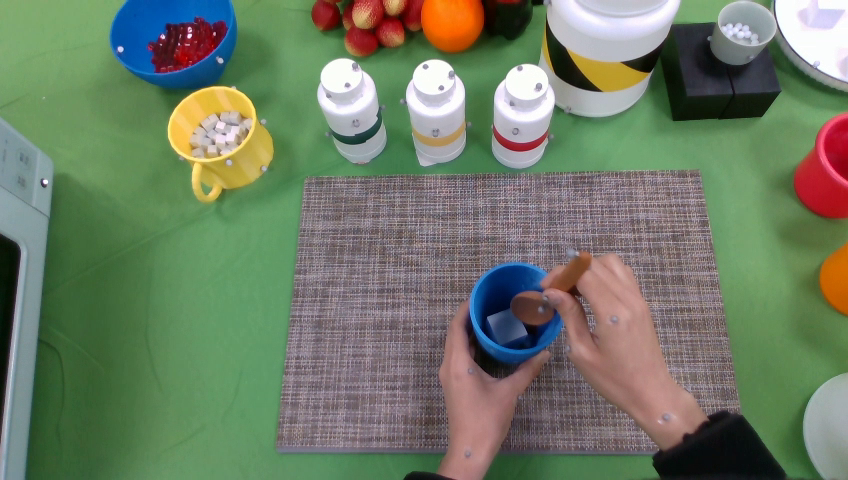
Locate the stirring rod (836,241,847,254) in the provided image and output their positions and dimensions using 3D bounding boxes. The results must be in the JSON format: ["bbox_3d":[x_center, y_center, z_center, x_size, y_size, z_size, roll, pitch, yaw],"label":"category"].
[{"bbox_3d":[0.437,0.039,0.550,0.014,0.006,0.174,-7,25,0],"label":"stirring rod"}]

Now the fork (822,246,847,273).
[{"bbox_3d":[0.465,0.040,0.543,0.028,0.019,0.205,-35,26,-15],"label":"fork"}]

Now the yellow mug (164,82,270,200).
[{"bbox_3d":[-0.240,-0.108,0.694,0.100,0.064,0.130,9,69,6],"label":"yellow mug"}]

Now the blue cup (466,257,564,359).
[{"bbox_3d":[0.083,0.073,0.578,0.092,0.101,0.092,-1,68,3],"label":"blue cup"}]

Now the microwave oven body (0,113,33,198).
[{"bbox_3d":[-0.576,0.075,0.535,0.326,0.262,0.438,-10,68,0],"label":"microwave oven body"}]

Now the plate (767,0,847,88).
[{"bbox_3d":[0.512,-0.262,0.720,0.209,0.038,0.207,-1,69,3],"label":"plate"}]

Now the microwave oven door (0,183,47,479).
[{"bbox_3d":[-0.426,0.088,0.515,0.039,0.245,0.353,-10,68,1],"label":"microwave oven door"}]

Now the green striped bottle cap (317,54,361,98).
[{"bbox_3d":[-0.088,-0.168,0.623,0.044,0.020,0.044,-1,67,3],"label":"green striped bottle cap"}]

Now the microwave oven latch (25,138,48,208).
[{"bbox_3d":[-0.450,-0.075,0.690,0.030,0.030,0.078,-8,69,0],"label":"microwave oven latch"}]

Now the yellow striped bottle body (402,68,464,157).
[{"bbox_3d":[0.011,-0.147,0.663,0.063,0.121,0.062,-2,68,5],"label":"yellow striped bottle body"}]

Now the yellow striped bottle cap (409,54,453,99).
[{"bbox_3d":[0.007,-0.167,0.616,0.044,0.019,0.044,-1,69,3],"label":"yellow striped bottle cap"}]

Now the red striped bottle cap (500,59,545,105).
[{"bbox_3d":[0.099,-0.159,0.606,0.044,0.018,0.044,0,67,0],"label":"red striped bottle cap"}]

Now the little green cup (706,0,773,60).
[{"bbox_3d":[0.343,-0.230,0.664,0.061,0.039,0.061,-1,67,2],"label":"little green cup"}]

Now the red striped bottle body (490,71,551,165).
[{"bbox_3d":[0.104,-0.138,0.654,0.063,0.120,0.062,-3,66,7],"label":"red striped bottle body"}]

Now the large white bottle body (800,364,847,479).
[{"bbox_3d":[0.410,0.147,0.484,0.130,0.186,0.129,-1,67,4],"label":"large white bottle body"}]

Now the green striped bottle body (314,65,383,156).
[{"bbox_3d":[-0.083,-0.149,0.671,0.063,0.120,0.062,-1,68,3],"label":"green striped bottle body"}]

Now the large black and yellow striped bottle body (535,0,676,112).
[{"bbox_3d":[0.193,-0.241,0.655,0.131,0.185,0.130,-1,68,4],"label":"large black and yellow striped bottle body"}]

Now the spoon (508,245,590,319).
[{"bbox_3d":[0.101,0.039,0.490,0.041,0.194,0.021,25,75,5],"label":"spoon"}]

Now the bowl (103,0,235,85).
[{"bbox_3d":[-0.298,-0.246,0.747,0.151,0.077,0.150,-1,68,3],"label":"bowl"}]

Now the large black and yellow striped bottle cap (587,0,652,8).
[{"bbox_3d":[0.186,-0.272,0.577,0.115,0.019,0.114,-2,67,4],"label":"large black and yellow striped bottle cap"}]
